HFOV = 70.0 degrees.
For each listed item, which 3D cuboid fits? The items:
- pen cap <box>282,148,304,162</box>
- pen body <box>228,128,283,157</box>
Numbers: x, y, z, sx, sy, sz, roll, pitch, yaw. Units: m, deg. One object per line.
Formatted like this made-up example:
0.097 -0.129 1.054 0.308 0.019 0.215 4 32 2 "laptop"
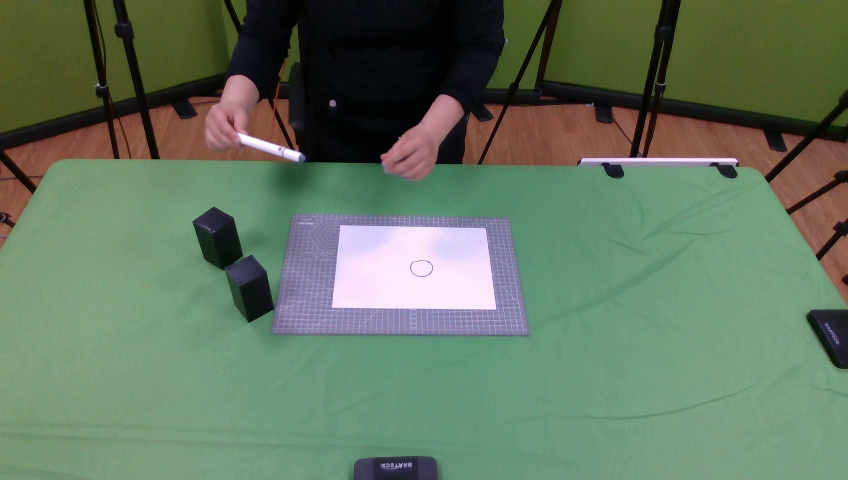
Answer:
-0.222 -0.143 1.030 0.038 0.017 0.017 19 47 21 "pen cap"
-0.280 -0.165 1.052 0.143 0.017 0.017 23 48 18 "pen body"
